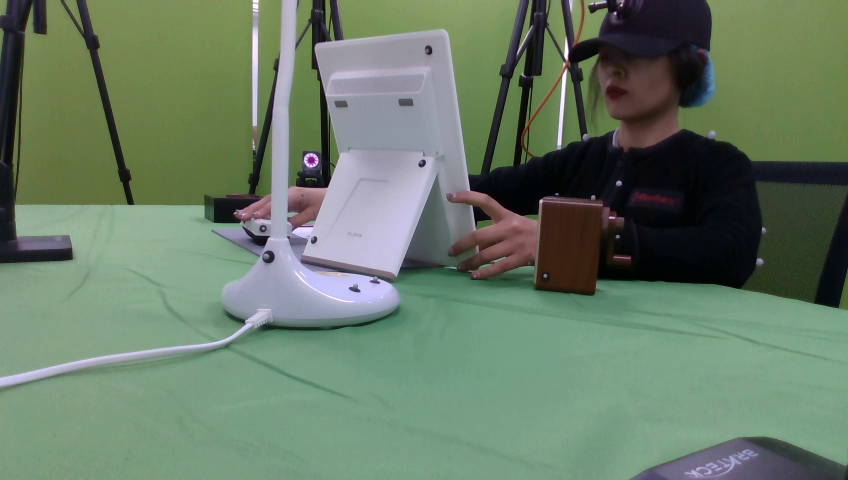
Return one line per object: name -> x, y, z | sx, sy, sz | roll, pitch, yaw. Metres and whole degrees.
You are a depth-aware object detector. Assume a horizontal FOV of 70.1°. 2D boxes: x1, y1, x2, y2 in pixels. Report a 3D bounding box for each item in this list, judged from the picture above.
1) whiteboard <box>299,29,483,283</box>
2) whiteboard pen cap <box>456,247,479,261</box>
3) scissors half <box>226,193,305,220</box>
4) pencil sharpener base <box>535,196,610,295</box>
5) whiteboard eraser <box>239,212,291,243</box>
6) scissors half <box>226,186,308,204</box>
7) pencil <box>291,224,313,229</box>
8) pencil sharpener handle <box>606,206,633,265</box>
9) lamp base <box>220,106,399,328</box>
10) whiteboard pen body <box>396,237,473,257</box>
whiteboard -> -0.074, -0.082, 0.742 | 0.216, 0.305, 0.144 | 9, 30, 38
whiteboard pen cap -> 0.060, 0.020, 0.851 | 0.033, 0.018, 0.018 | 7, 9, 36
scissors half -> -0.341, -0.077, 1.309 | 0.176, 0.040, 0.012 | 17, 11, -33
pencil sharpener base -> 0.172, 0.005, 0.695 | 0.076, 0.107, 0.061 | 5, 7, 16
whiteboard eraser -> -0.251, -0.019, 0.954 | 0.056, 0.042, 0.112 | 5, 6, -30
scissors half -> -0.336, -0.096, 1.305 | 0.176, 0.040, 0.013 | -3, 16, -29
pencil -> -0.221, -0.028, 1.211 | 0.195, 0.012, 0.012 | -5, 10, -34
pencil sharpener handle -> 0.223, -0.004, 0.683 | 0.030, 0.068, 0.036 | 5, 21, 17
lamp base -> -0.102, -0.023, 0.531 | 0.160, 0.180, 0.179 | 4, 10, 10
whiteboard pen body -> 0.014, 0.012, 0.886 | 0.140, 0.017, 0.017 | 10, 10, 38
